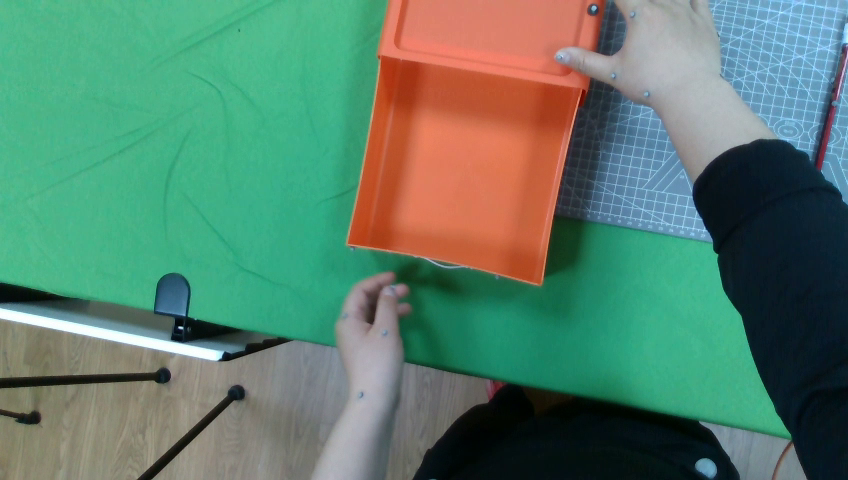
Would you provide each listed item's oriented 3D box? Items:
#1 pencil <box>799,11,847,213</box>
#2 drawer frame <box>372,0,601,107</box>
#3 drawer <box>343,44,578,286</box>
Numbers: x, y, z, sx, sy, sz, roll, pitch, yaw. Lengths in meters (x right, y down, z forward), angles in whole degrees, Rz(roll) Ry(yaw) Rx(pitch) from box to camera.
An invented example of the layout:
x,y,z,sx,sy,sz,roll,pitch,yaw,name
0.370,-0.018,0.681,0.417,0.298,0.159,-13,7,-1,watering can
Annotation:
x,y,z,sx,sy,sz,roll,pitch,yaw,name
0.382,-0.120,0.577,0.012,0.012,0.194,13,93,9,pencil
0.071,-0.251,0.589,0.201,0.083,0.213,11,90,10,drawer frame
0.038,-0.074,0.599,0.194,0.073,0.212,11,93,9,drawer
